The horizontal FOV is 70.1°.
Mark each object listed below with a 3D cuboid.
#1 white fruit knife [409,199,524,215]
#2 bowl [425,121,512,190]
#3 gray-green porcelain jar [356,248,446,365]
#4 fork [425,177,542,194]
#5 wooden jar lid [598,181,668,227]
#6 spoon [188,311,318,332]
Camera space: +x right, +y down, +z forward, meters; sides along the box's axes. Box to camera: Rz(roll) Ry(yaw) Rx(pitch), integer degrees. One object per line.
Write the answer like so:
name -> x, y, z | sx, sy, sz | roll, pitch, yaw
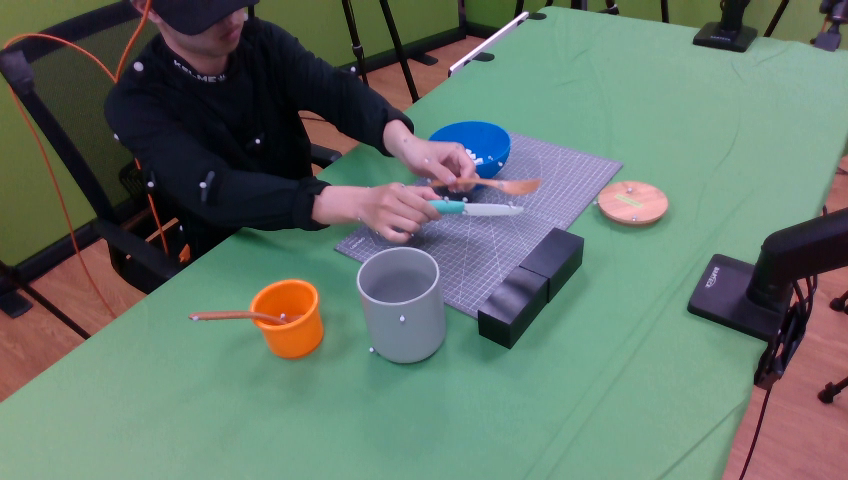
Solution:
white fruit knife -> 0.053, -0.045, 0.836 | 0.206, 0.027, 0.016 | 3, 49, 43
bowl -> 0.081, -0.141, 1.074 | 0.151, 0.077, 0.150 | -4, 40, 4
gray-green porcelain jar -> -0.027, 0.091, 0.786 | 0.106, 0.127, 0.105 | -4, 40, 4
fork -> 0.078, -0.081, 0.861 | 0.205, 0.019, 0.028 | 8, 52, 41
wooden jar lid -> 0.340, -0.058, 0.988 | 0.108, 0.021, 0.108 | -5, 41, 5
spoon -> -0.216, 0.102, 0.783 | 0.041, 0.195, 0.021 | 26, 95, 39
